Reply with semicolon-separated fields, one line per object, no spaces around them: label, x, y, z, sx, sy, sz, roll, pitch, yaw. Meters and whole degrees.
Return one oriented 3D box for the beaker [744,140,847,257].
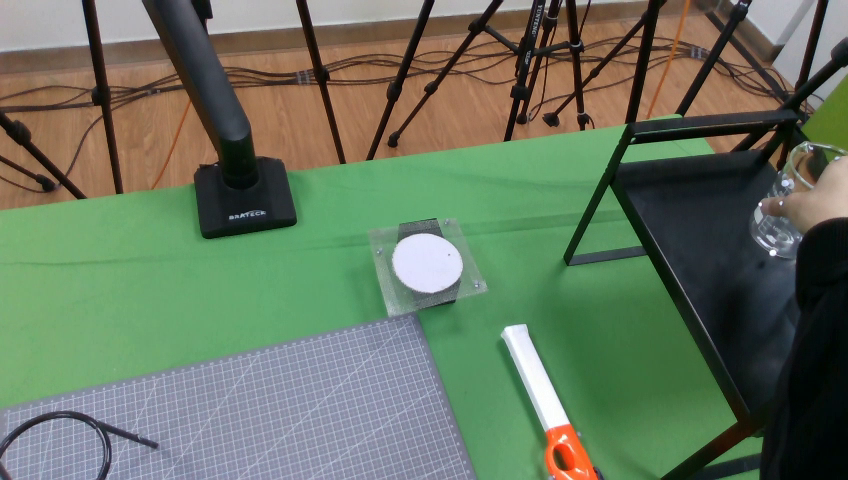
beaker;0.376;-0.039;0.608;0.074;0.101;0.083;-1;52;-4

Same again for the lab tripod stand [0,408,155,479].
lab tripod stand;-0.299;0.215;0.522;0.149;0.132;0.147;5;53;-7

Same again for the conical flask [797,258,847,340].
conical flask;0.406;0.032;0.547;0.075;0.123;0.074;4;52;-5

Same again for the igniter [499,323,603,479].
igniter;0.145;0.213;0.660;0.057;0.025;0.273;-4;53;-24

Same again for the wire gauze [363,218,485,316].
wire gauze;-0.002;0.026;0.729;0.122;0.011;0.124;-10;56;-15
